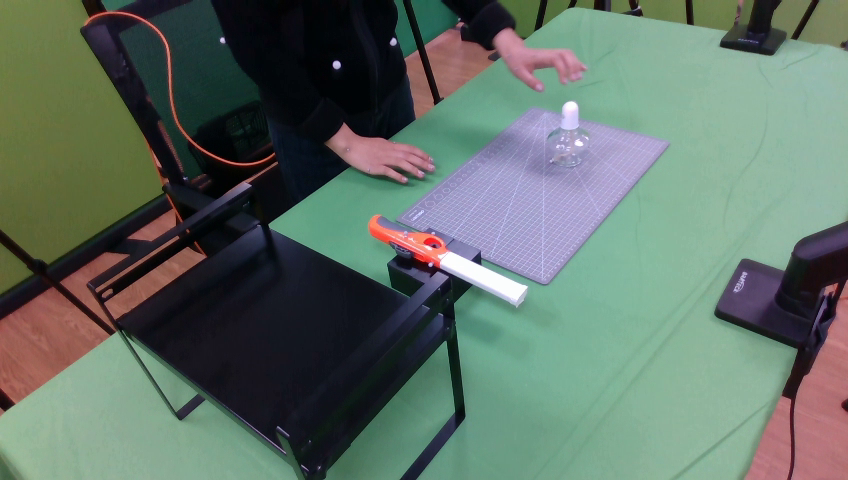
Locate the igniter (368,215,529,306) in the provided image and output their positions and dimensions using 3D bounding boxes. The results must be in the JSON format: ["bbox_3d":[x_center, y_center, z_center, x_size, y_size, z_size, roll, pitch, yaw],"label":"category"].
[{"bbox_3d":[0.024,0.024,0.868,0.274,0.025,0.057,25,49,28],"label":"igniter"}]

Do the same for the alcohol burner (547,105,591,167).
[{"bbox_3d":[0.261,-0.192,1.087,0.078,0.119,0.077,-5,42,5],"label":"alcohol burner"}]

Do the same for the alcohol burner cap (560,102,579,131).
[{"bbox_3d":[0.256,-0.219,1.064,0.034,0.048,0.033,-5,34,4],"label":"alcohol burner cap"}]
